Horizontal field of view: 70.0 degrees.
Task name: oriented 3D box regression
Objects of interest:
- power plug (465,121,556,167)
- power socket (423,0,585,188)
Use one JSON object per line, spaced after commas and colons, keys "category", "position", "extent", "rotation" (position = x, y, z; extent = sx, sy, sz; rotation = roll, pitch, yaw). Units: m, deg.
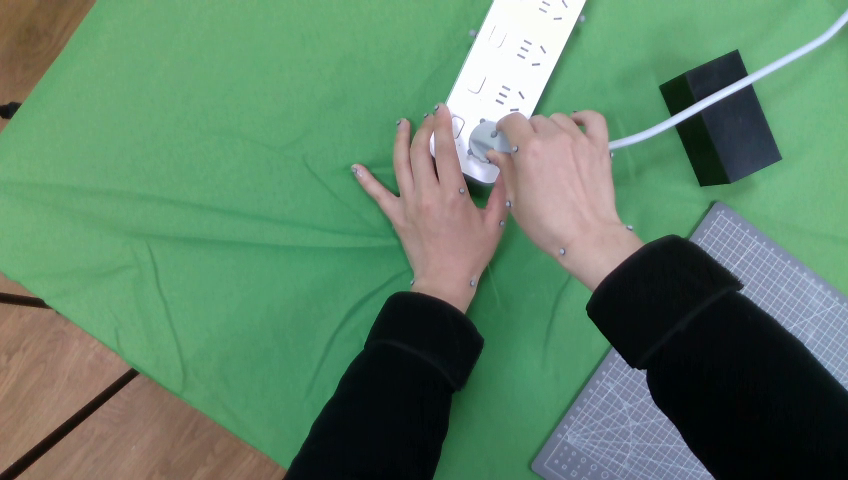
{"category": "power plug", "position": [0.067, -0.070, 0.504], "extent": [0.072, 0.052, 0.035], "rotation": [37, 90, -3]}
{"category": "power socket", "position": [0.072, -0.151, 0.522], "extent": [0.072, 0.032, 0.226], "rotation": [26, 91, -6]}
